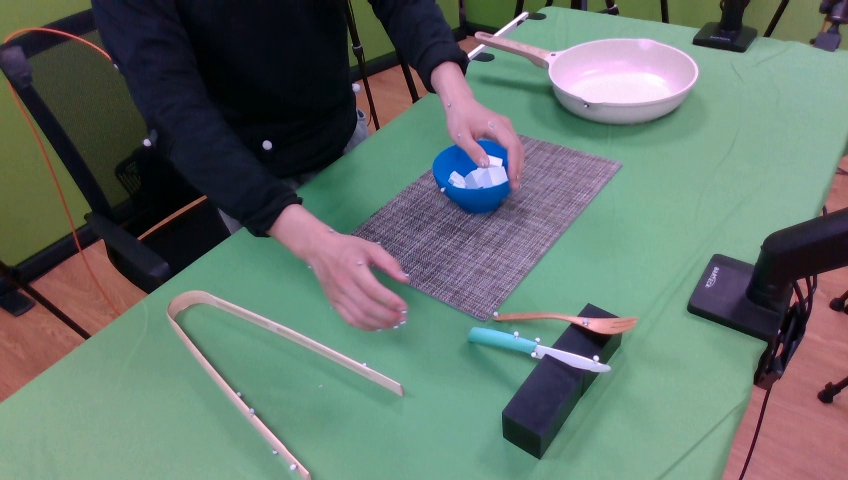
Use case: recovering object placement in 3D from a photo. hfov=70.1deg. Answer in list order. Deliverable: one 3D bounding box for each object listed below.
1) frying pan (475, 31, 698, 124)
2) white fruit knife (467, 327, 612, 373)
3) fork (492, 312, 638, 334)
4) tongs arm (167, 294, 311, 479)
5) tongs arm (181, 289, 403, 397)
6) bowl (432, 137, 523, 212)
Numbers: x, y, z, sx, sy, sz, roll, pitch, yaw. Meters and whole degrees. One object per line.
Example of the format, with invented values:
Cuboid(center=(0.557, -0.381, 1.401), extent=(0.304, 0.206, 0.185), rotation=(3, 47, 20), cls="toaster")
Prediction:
Cuboid(center=(0.320, -0.371, 1.290), extent=(0.485, 0.103, 0.307), rotation=(28, 50, 23), cls="frying pan")
Cuboid(center=(0.134, 0.134, 0.742), extent=(0.205, 0.027, 0.016), rotation=(7, 34, 41), cls="white fruit knife")
Cuboid(center=(0.173, 0.103, 0.774), extent=(0.206, 0.019, 0.028), rotation=(0, 39, 40), cls="fork")
Cuboid(center=(-0.245, 0.176, 0.787), extent=(0.381, 0.026, 0.051), rotation=(29, 50, 36), cls="tongs arm")
Cuboid(center=(-0.192, 0.136, 0.834), extent=(0.385, 0.028, 0.028), rotation=(18, 48, 26), cls="tongs arm")
Cuboid(center=(0.091, -0.100, 1.021), extent=(0.151, 0.077, 0.150), rotation=(-4, 41, 4), cls="bowl")
